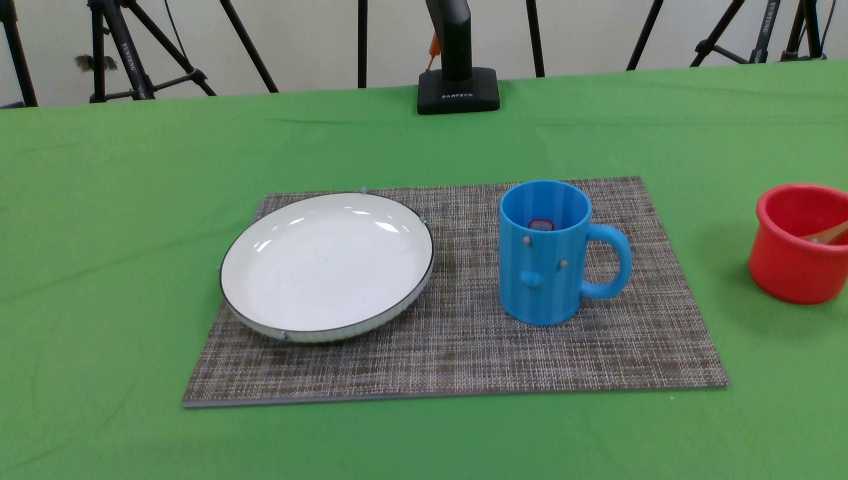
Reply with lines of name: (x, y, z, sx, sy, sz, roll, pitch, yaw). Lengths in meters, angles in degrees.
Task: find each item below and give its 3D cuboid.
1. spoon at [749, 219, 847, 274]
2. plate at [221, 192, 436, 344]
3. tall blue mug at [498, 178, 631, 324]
spoon: (0.378, -0.017, 0.519, 0.194, 0.022, 0.041, -35, 25, 39)
plate: (-0.091, 0.027, 0.599, 0.207, 0.039, 0.205, -3, 40, 3)
tall blue mug: (0.120, 0.009, 0.538, 0.107, 0.109, 0.077, -7, 39, -1)
